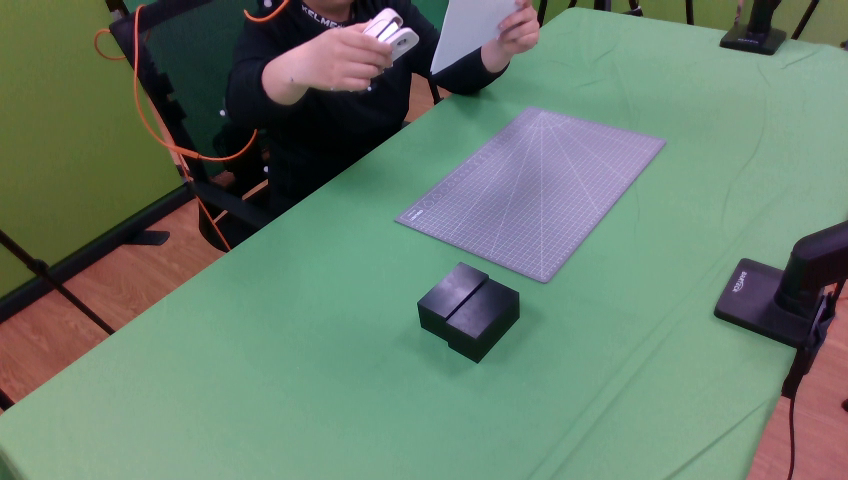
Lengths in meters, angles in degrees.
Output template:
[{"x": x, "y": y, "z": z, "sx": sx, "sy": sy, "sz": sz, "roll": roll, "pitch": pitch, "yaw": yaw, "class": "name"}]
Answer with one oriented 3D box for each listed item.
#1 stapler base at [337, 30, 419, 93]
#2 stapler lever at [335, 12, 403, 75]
[{"x": -0.068, "y": -0.259, "z": 0.861, "sx": 0.130, "sy": 0.041, "sz": 0.024, "roll": -33, "pitch": 71, "yaw": 19, "class": "stapler base"}, {"x": -0.080, "y": -0.279, "z": 0.867, "sx": 0.118, "sy": 0.027, "sz": 0.040, "roll": -32, "pitch": 71, "yaw": 19, "class": "stapler lever"}]
